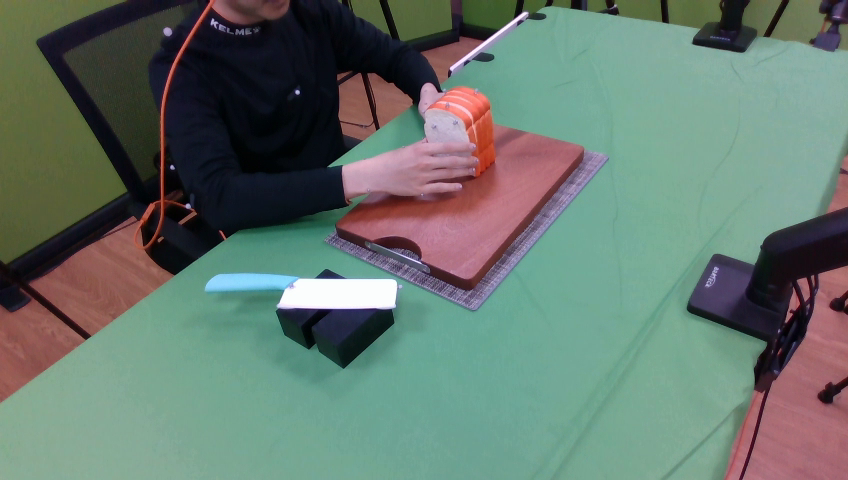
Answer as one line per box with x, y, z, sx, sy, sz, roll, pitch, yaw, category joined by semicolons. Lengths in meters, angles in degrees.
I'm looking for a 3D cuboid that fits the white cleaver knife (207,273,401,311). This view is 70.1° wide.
-0.173;0.071;0.846;0.286;0.021;0.065;0;40;11;white cleaver knife

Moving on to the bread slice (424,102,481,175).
0.045;-0.175;1.039;0.104;0.132;0.019;21;54;32;bread slice

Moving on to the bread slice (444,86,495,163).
0.079;-0.204;1.067;0.106;0.135;0.018;25;49;29;bread slice
